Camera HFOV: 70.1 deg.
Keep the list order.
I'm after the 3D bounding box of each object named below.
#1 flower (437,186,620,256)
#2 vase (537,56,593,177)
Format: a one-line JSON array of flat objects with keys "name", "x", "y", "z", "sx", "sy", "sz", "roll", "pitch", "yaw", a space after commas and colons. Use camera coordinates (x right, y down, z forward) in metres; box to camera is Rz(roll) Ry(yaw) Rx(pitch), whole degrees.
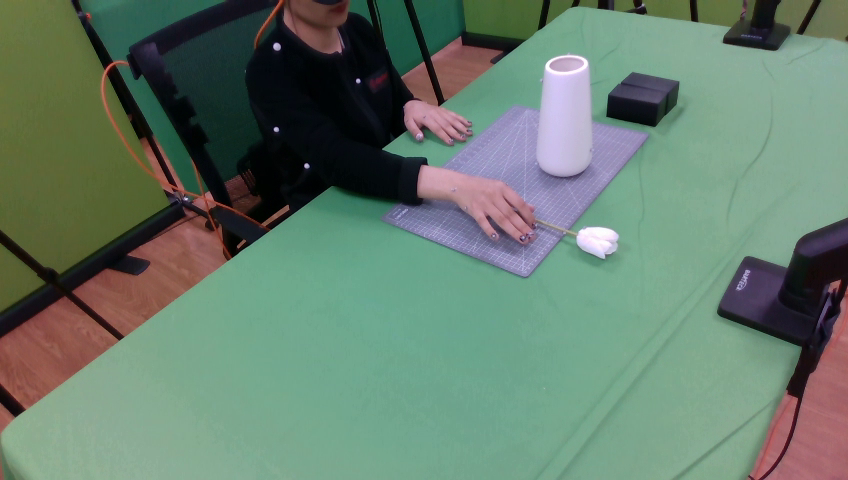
[{"name": "flower", "x": 0.156, "y": -0.045, "z": 1.011, "sx": 0.358, "sy": 0.038, "sz": 0.044, "roll": 22, "pitch": 86, "yaw": 38}, {"name": "vase", "x": 0.245, "y": -0.209, "z": 1.040, "sx": 0.098, "sy": 0.201, "sz": 0.097, "roll": -4, "pitch": 40, "yaw": 4}]
